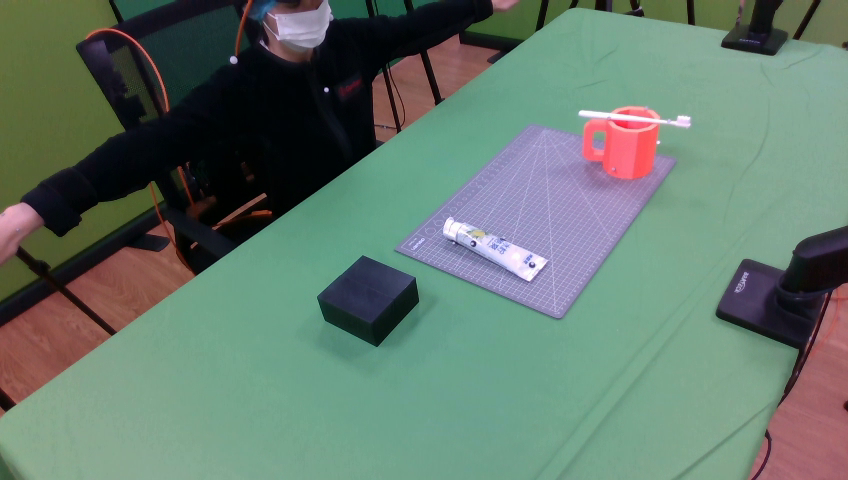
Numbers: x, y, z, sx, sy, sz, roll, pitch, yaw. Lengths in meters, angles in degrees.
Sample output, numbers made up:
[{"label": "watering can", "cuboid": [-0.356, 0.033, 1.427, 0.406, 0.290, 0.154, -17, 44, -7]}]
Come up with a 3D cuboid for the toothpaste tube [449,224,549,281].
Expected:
[{"label": "toothpaste tube", "cuboid": [0.107, 0.015, 0.934, 0.164, 0.035, 0.055, 25, 55, 28]}]

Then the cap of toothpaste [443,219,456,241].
[{"label": "cap of toothpaste", "cuboid": [0.044, -0.017, 0.972, 0.011, 0.037, 0.037, 15, 45, 26]}]

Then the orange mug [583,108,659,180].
[{"label": "orange mug", "cuboid": [0.343, -0.171, 1.061, 0.126, 0.101, 0.083, 10, 43, 15]}]

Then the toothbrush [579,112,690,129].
[{"label": "toothbrush", "cuboid": [0.352, -0.205, 1.019, 0.181, 0.017, 0.014, 10, 47, 21]}]
